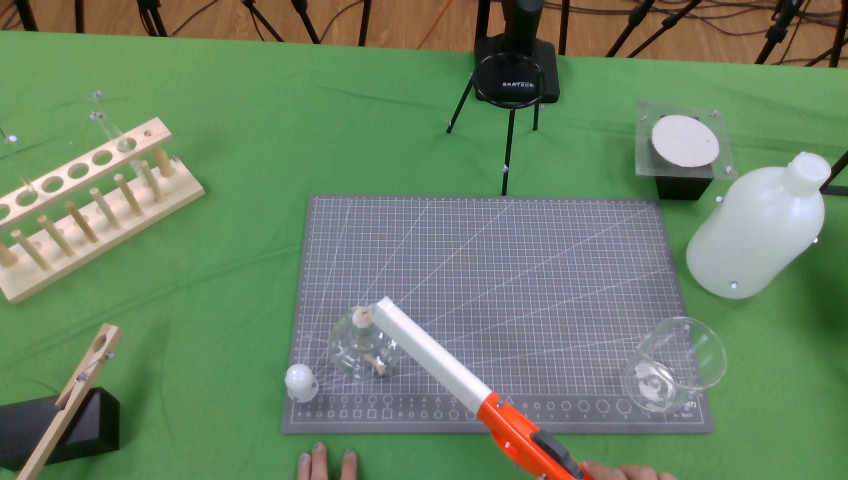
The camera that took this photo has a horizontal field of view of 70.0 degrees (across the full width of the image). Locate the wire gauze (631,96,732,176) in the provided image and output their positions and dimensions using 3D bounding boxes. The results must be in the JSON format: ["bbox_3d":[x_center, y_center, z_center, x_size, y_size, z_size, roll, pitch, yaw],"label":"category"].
[{"bbox_3d":[0.325,-0.132,0.774,0.121,0.011,0.124,8,59,2],"label":"wire gauze"}]

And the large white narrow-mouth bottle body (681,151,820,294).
[{"bbox_3d":[0.363,-0.024,0.660,0.102,0.196,0.101,1,59,-1],"label":"large white narrow-mouth bottle body"}]

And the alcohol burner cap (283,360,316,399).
[{"bbox_3d":[-0.130,0.142,0.624,0.034,0.048,0.033,1,59,-2],"label":"alcohol burner cap"}]

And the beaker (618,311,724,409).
[{"bbox_3d":[0.243,0.126,0.618,0.084,0.101,0.073,6,59,2],"label":"beaker"}]

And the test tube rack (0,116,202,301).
[{"bbox_3d":[-0.390,-0.039,0.696,0.242,0.086,0.066,-36,67,-21],"label":"test tube rack"}]

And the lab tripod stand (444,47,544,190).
[{"bbox_3d":[0.096,-0.159,0.764,0.148,0.132,0.147,2,60,-3],"label":"lab tripod stand"}]

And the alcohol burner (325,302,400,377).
[{"bbox_3d":[-0.062,0.094,0.614,0.078,0.120,0.077,2,58,-3],"label":"alcohol burner"}]

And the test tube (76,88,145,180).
[{"bbox_3d":[-0.348,-0.114,0.686,0.017,0.151,0.017,-1,61,2],"label":"test tube"}]

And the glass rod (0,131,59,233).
[{"bbox_3d":[-0.422,-0.067,0.635,0.008,0.201,0.008,4,50,-4],"label":"glass rod"}]

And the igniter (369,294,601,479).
[{"bbox_3d":[0.057,0.142,0.508,0.274,0.057,0.025,39,51,20],"label":"igniter"}]

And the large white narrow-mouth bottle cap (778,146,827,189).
[{"bbox_3d":[0.366,-0.070,0.587,0.038,0.024,0.037,1,59,-2],"label":"large white narrow-mouth bottle cap"}]

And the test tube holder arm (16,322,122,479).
[{"bbox_3d":[-0.335,0.158,0.567,0.013,0.015,0.177,11,60,12],"label":"test tube holder arm"}]

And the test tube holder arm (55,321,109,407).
[{"bbox_3d":[-0.329,0.120,0.590,0.010,0.015,0.087,10,59,11],"label":"test tube holder arm"}]
